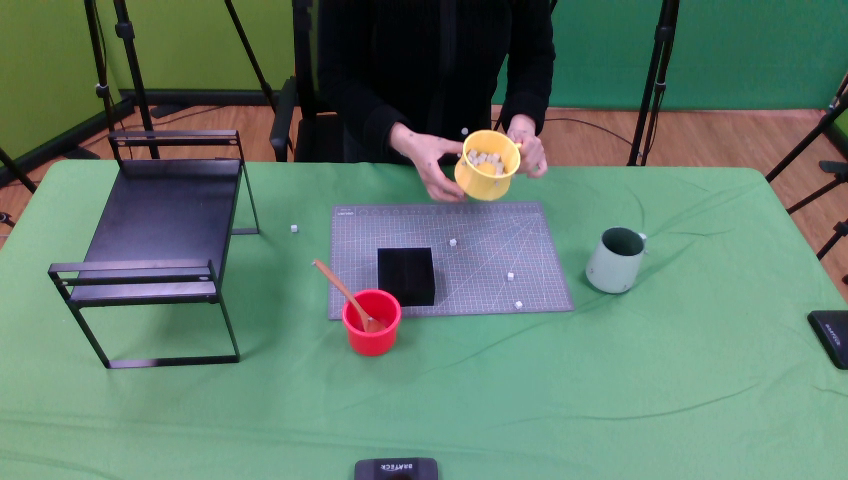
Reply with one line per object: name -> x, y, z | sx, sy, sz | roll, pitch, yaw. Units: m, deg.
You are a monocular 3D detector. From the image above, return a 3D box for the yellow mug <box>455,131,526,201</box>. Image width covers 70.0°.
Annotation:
yellow mug -> 0.121, -0.130, 1.028 | 0.131, 0.064, 0.099 | -24, 66, -25

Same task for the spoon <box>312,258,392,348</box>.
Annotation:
spoon -> -0.119, 0.103, 1.005 | 0.194, 0.021, 0.041 | 54, 49, -14

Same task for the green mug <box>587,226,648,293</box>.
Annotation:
green mug -> 0.372, 0.030, 1.136 | 0.125, 0.105, 0.092 | -27, 53, -26
